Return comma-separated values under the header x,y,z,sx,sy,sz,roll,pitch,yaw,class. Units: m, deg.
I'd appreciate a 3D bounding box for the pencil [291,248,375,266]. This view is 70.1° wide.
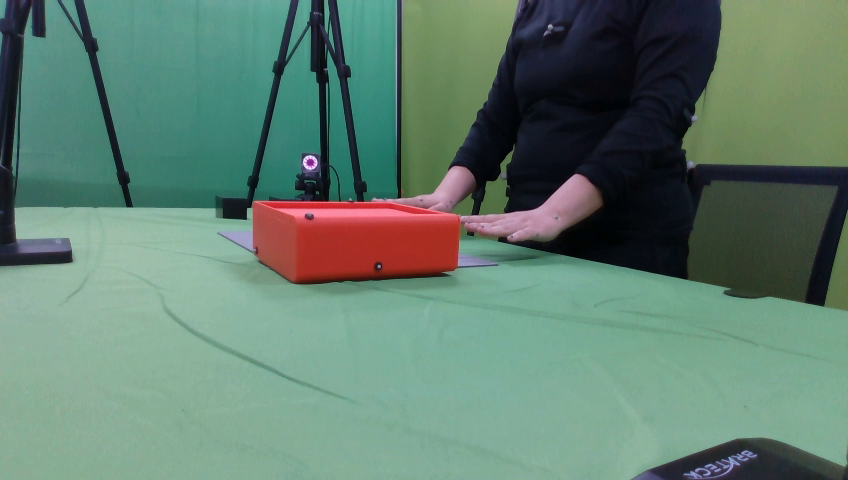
x,y,z,sx,sy,sz,roll,pitch,yaw,class
-0.112,0.020,0.793,0.012,0.012,0.195,6,6,24,pencil

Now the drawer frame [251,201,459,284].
x,y,z,sx,sy,sz,roll,pitch,yaw,class
-0.095,-0.005,0.788,0.215,0.082,0.200,-3,10,-30,drawer frame

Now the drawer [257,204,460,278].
x,y,z,sx,sy,sz,roll,pitch,yaw,class
-0.091,-0.004,0.793,0.213,0.073,0.193,-3,10,-29,drawer
